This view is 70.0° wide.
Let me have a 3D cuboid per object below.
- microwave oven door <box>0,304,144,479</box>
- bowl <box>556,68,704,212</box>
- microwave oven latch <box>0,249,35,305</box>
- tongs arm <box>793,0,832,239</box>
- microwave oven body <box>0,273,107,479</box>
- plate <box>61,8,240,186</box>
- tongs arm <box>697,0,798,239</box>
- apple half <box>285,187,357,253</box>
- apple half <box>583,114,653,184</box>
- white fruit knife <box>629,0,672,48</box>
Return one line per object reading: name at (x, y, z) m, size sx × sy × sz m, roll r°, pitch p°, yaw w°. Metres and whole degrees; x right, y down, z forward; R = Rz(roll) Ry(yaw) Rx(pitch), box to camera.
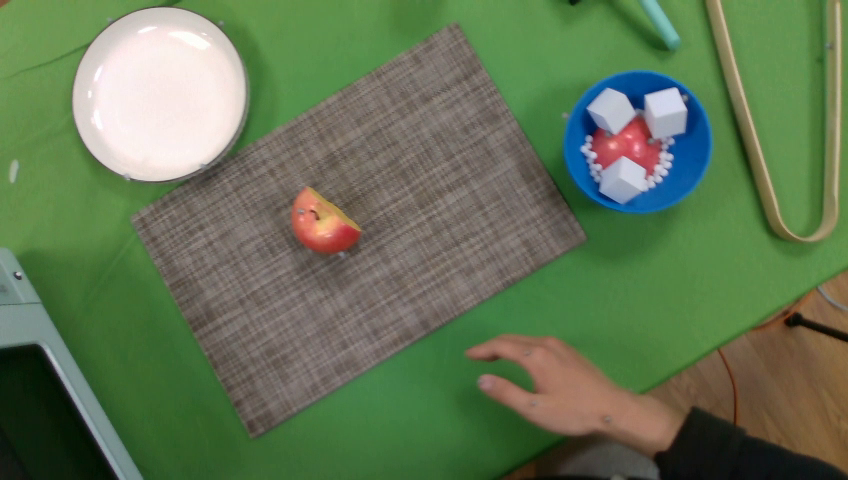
microwave oven door at (-0.373, 0.223, 0.577) m, size 0.039 × 0.244 × 0.355 m, roll -33°, pitch 86°, yaw 1°
bowl at (0.215, -0.101, 0.661) m, size 0.151 × 0.077 × 0.151 m, roll 0°, pitch 87°, yaw 3°
microwave oven latch at (-0.483, 0.045, 0.692) m, size 0.030 × 0.029 × 0.079 m, roll -34°, pitch 87°, yaw 0°
tongs arm at (0.428, -0.194, 0.675) m, size 0.051 × 0.026 × 0.384 m, roll -1°, pitch 88°, yaw 3°
microwave oven body at (-0.518, 0.268, 0.587) m, size 0.326 × 0.260 × 0.441 m, roll -33°, pitch 86°, yaw 0°
plate at (-0.315, -0.164, 0.712) m, size 0.207 × 0.039 × 0.207 m, roll 0°, pitch 87°, yaw 3°
tongs arm at (0.347, -0.185, 0.682) m, size 0.028 × 0.028 × 0.387 m, roll -15°, pitch 87°, yaw -1°
apple half at (-0.120, -0.015, 0.673) m, size 0.081 × 0.074 × 0.053 m, roll 39°, pitch 95°, yaw 1°
apple half at (0.215, -0.101, 0.657) m, size 0.081 × 0.033 × 0.081 m, roll 0°, pitch 87°, yaw 5°
white fruit knife at (0.212, -0.296, 0.666) m, size 0.016 × 0.027 × 0.208 m, roll -37°, pitch 103°, yaw 18°
